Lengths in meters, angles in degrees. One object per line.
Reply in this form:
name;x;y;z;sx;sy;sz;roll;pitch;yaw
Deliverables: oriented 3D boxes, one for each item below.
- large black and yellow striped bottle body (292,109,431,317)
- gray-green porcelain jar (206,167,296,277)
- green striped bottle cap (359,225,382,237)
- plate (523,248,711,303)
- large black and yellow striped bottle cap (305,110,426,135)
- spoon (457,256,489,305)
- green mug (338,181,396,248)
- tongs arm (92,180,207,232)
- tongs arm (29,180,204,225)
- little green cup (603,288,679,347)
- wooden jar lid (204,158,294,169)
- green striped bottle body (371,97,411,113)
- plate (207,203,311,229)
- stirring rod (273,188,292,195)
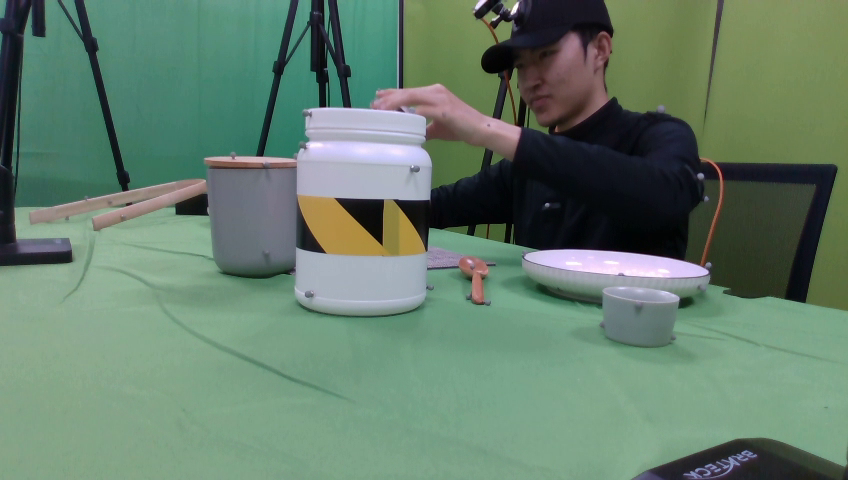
large black and yellow striped bottle body;-0.060;-0.028;0.584;0.131;0.184;0.130;3;7;0
gray-green porcelain jar;-0.201;-0.024;0.724;0.106;0.126;0.106;-1;9;1
green striped bottle cap;-0.101;-0.017;1.138;0.044;0.020;0.044;-1;8;1
plate;0.219;0.041;0.706;0.209;0.038;0.209;2;7;0
large black and yellow striped bottle cap;-0.055;-0.110;0.574;0.115;0.019;0.115;1;7;0
spoon;0.059;0.044;0.696;0.041;0.021;0.194;21;7;0
green mug;-0.097;-0.044;0.995;0.093;0.105;0.125;-1;8;-21
tongs arm;-0.534;-0.076;1.221;0.028;0.028;0.388;-2;15;12
tongs arm;-0.609;-0.083;1.245;0.050;0.026;0.386;5;16;23
little green cup;0.180;0.064;0.505;0.061;0.038;0.061;2;7;0
wooden jar lid;-0.202;-0.086;0.714;0.108;0.020;0.108;3;11;0
green striped bottle body;-0.051;-0.166;0.886;0.063;0.063;0.119;3;37;0
plate;-0.342;-0.050;1.259;0.208;0.039;0.207;2;7;0
stirring rod;-0.354;-0.122;1.518;0.006;0.014;0.176;2;6;1
